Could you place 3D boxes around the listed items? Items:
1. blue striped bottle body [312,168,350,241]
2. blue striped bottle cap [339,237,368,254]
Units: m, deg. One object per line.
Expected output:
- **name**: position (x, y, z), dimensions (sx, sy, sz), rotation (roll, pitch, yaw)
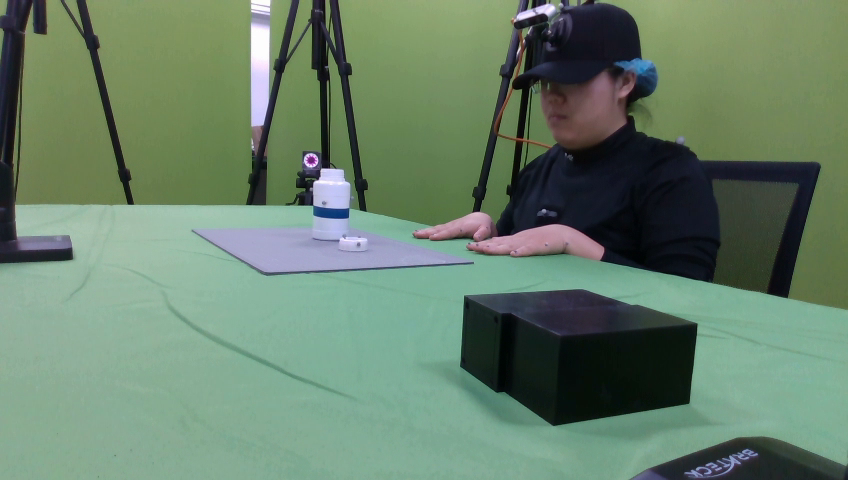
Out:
- **blue striped bottle body**: position (-0.157, -0.062, 1.025), dimensions (0.063, 0.120, 0.063), rotation (3, 7, 0)
- **blue striped bottle cap**: position (-0.107, 0.008, 0.920), dimensions (0.044, 0.020, 0.044), rotation (1, 7, 0)
